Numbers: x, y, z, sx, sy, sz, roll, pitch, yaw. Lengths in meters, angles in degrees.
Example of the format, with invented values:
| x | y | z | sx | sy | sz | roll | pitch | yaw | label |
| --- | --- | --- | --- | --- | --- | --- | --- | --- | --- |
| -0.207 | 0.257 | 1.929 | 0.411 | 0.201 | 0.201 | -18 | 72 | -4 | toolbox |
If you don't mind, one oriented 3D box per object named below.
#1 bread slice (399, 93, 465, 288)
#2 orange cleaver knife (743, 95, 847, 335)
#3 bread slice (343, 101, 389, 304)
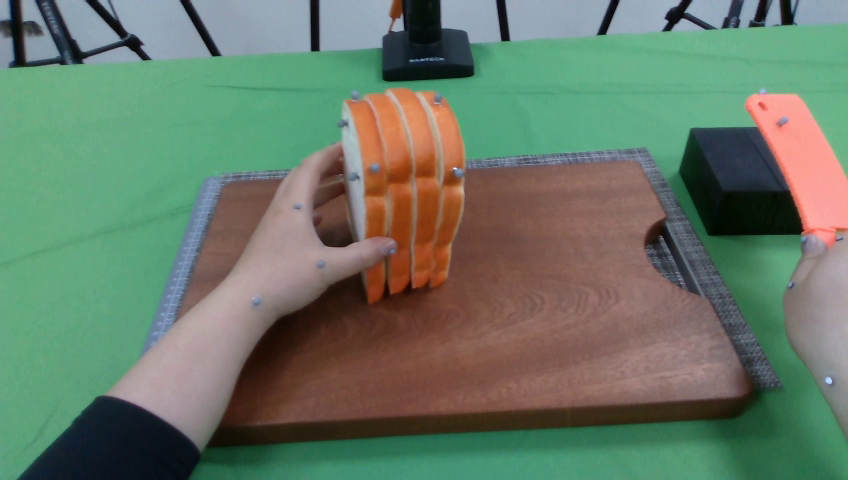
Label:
| x | y | z | sx | sy | sz | roll | pitch | yaw | label |
| --- | --- | --- | --- | --- | --- | --- | --- | --- | --- |
| 0.005 | -0.043 | 0.466 | 0.019 | 0.132 | 0.103 | -5 | 44 | -16 | bread slice |
| 0.288 | -0.030 | 0.442 | 0.077 | 0.012 | 0.209 | 8 | 59 | -17 | orange cleaver knife |
| -0.045 | -0.036 | 0.460 | 0.018 | 0.135 | 0.105 | -8 | 40 | -13 | bread slice |
